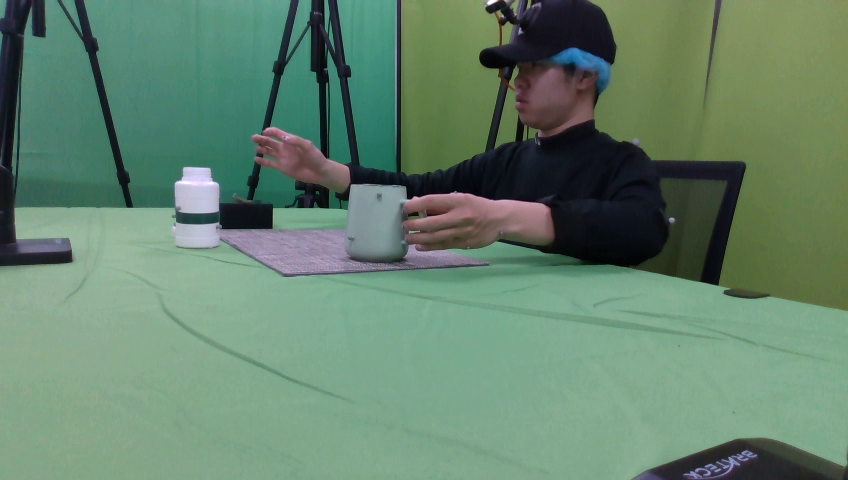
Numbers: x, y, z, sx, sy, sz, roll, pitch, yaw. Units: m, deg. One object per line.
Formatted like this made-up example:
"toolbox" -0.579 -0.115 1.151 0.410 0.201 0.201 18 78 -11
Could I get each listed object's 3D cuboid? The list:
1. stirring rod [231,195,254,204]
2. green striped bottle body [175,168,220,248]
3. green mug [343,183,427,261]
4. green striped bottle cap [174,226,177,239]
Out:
"stirring rod" -0.372 -0.083 1.235 0.014 0.006 0.175 1 7 -28
"green striped bottle body" -0.345 -0.050 0.924 0.063 0.119 0.063 2 7 0
"green mug" -0.052 -0.026 0.847 0.125 0.105 0.093 6 8 27
"green striped bottle cap" -0.404 -0.015 1.036 0.044 0.020 0.044 -1 9 1
